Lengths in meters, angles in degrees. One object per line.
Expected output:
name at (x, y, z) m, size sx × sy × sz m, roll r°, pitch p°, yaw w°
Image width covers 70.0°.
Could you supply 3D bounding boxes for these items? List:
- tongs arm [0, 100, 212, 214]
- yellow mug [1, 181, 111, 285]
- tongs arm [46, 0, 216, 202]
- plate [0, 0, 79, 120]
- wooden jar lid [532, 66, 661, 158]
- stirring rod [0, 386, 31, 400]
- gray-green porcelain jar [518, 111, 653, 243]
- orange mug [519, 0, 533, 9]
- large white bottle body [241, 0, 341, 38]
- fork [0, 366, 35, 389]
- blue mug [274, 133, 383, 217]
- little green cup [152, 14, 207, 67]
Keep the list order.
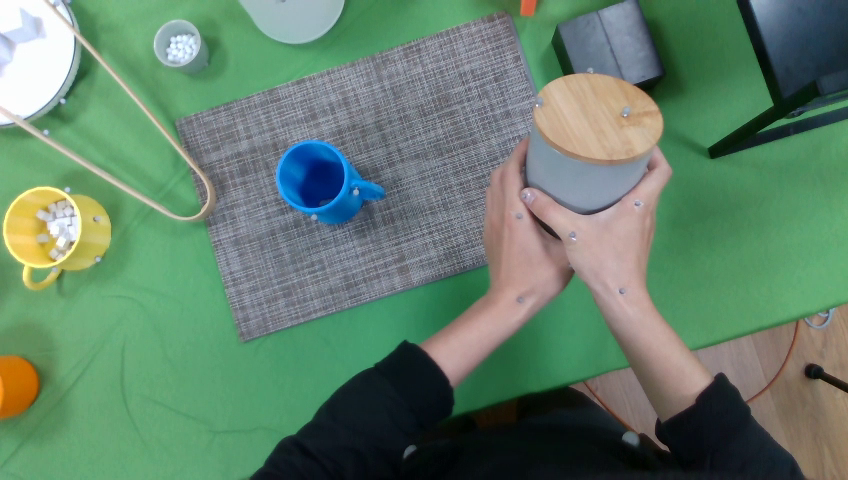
tongs arm at (-0.444, -0.137, 0.759) m, size 0.385 × 0.026 × 0.050 m, roll 34°, pitch 85°, yaw -2°
yellow mug at (-0.464, -0.005, 0.757) m, size 0.100 × 0.064 × 0.130 m, roll 21°, pitch 88°, yaw 4°
tongs arm at (-0.390, -0.203, 0.764) m, size 0.028 × 0.028 × 0.387 m, roll -42°, pitch 92°, yaw -9°
plate at (-0.548, -0.256, 0.792) m, size 0.207 × 0.039 × 0.207 m, roll 0°, pitch 87°, yaw 3°
wooden jar lid at (0.145, -0.107, 0.517) m, size 0.108 × 0.021 × 0.107 m, roll 0°, pitch 54°, yaw 0°
stirring rod at (-0.566, 0.187, 0.710) m, size 0.006 × 0.177 × 0.014 m, roll -31°, pitch 64°, yaw 43°
gray-green porcelain jar at (0.145, -0.067, 0.566) m, size 0.106 × 0.127 × 0.105 m, roll 0°, pitch 52°, yaw 0°
orange mug at (0.130, -0.352, 0.732) m, size 0.083 × 0.101 × 0.126 m, roll 5°, pitch 82°, yaw 4°
large white bottle body at (-0.174, -0.333, 0.704) m, size 0.130 × 0.185 × 0.130 m, roll 0°, pitch 85°, yaw 3°
fork at (-0.579, 0.172, 0.709) m, size 0.209 × 0.018 × 0.028 m, roll 0°, pitch 83°, yaw -41°
blue mug at (-0.106, -0.072, 0.719) m, size 0.116 × 0.106 × 0.082 m, roll 8°, pitch 86°, yaw 4°
little green cup at (-0.312, -0.254, 0.779) m, size 0.061 × 0.038 × 0.061 m, roll 0°, pitch 87°, yaw 2°
